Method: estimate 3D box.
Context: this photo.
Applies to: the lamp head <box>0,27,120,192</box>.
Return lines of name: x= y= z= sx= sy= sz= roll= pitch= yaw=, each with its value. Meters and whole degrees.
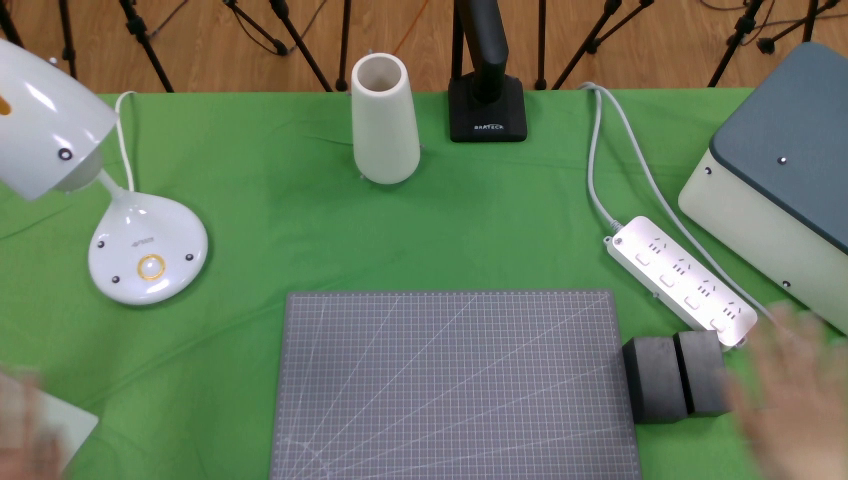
lamp head: x=-0.346 y=-0.120 z=0.514 sx=0.112 sy=0.124 sz=0.111 roll=-29 pitch=33 yaw=21

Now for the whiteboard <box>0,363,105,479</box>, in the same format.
whiteboard: x=-0.551 y=0.197 z=0.633 sx=0.143 sy=0.309 sz=0.216 roll=19 pitch=65 yaw=29

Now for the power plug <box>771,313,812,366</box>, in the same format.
power plug: x=0.478 y=0.137 z=0.804 sx=0.052 sy=0.035 sz=0.072 roll=-30 pitch=28 yaw=-8

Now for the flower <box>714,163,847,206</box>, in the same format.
flower: x=0.609 y=-0.057 z=0.889 sx=0.358 sy=0.038 sz=0.044 roll=25 pitch=57 yaw=31

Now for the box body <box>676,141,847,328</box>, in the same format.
box body: x=0.565 y=-0.062 z=0.813 sx=0.362 sy=0.161 sz=0.254 roll=41 pitch=71 yaw=16

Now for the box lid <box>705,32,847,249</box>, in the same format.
box lid: x=0.566 y=-0.092 z=0.746 sx=0.369 sy=0.015 sz=0.263 roll=42 pitch=72 yaw=16

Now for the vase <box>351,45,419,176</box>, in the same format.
vase: x=-0.054 y=-0.173 z=0.836 sx=0.098 sy=0.201 sz=0.097 roll=1 pitch=64 yaw=-1

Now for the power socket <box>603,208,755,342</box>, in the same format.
power socket: x=0.349 y=0.045 z=0.833 sx=0.072 sy=0.033 sz=0.225 roll=-38 pitch=71 yaw=-17

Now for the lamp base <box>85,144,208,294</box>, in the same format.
lamp base: x=-0.390 y=-0.041 z=0.780 sx=0.160 sy=0.181 sz=0.177 roll=-29 pitch=66 yaw=-13
